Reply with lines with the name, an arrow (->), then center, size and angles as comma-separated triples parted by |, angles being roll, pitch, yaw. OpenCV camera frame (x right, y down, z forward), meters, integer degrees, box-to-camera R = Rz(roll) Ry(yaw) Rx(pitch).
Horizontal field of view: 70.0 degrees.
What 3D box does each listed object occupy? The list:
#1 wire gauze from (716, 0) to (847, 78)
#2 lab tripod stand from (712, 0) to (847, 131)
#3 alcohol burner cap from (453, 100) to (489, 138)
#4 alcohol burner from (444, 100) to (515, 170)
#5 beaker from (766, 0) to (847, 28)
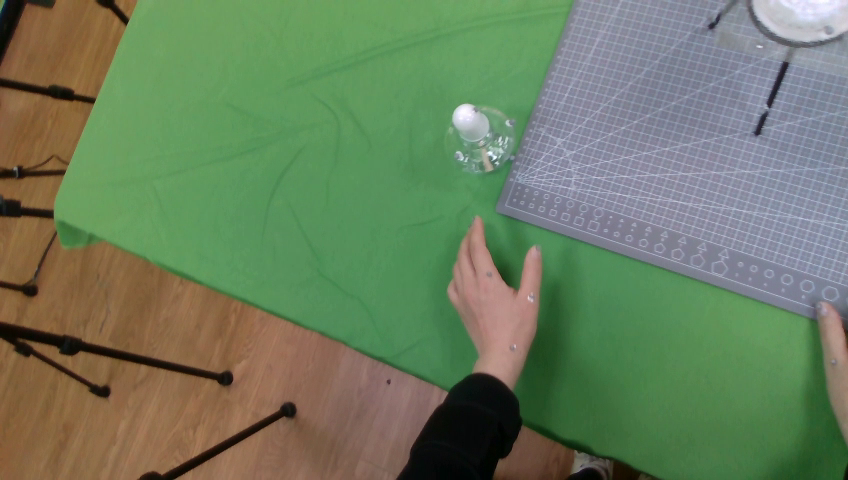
wire gauze -> 0.320, -0.203, 0.498 | 0.124, 0.011, 0.121 | 20, 90, 15
lab tripod stand -> 0.338, -0.191, 0.560 | 0.148, 0.132, 0.148 | -2, 82, 15
alcohol burner cap -> 0.045, -0.124, 0.608 | 0.034, 0.048, 0.034 | -2, 84, 16
alcohol burner -> 0.056, -0.117, 0.642 | 0.078, 0.120, 0.077 | -3, 78, 14
beaker -> 0.302, -0.213, 0.453 | 0.083, 0.101, 0.074 | 35, 92, 19
